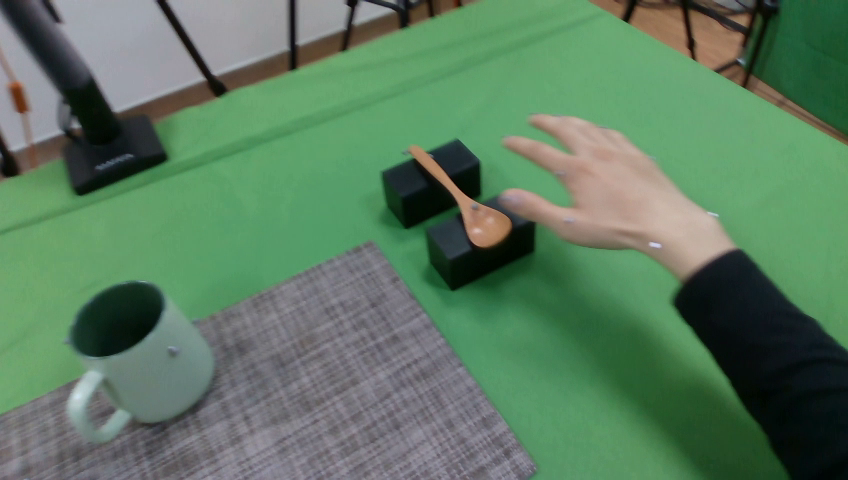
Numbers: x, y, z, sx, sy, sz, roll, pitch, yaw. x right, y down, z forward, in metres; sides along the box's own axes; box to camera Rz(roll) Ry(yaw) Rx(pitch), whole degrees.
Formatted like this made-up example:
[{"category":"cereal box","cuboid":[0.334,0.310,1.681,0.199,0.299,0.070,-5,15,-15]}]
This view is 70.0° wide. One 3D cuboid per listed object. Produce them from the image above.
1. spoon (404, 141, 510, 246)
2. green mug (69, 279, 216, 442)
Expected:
[{"category":"spoon","cuboid":[0.026,-0.055,0.618,0.041,0.022,0.191,-39,52,1]},{"category":"green mug","cuboid":[-0.244,0.108,0.512,0.092,0.106,0.124,10,50,15]}]
